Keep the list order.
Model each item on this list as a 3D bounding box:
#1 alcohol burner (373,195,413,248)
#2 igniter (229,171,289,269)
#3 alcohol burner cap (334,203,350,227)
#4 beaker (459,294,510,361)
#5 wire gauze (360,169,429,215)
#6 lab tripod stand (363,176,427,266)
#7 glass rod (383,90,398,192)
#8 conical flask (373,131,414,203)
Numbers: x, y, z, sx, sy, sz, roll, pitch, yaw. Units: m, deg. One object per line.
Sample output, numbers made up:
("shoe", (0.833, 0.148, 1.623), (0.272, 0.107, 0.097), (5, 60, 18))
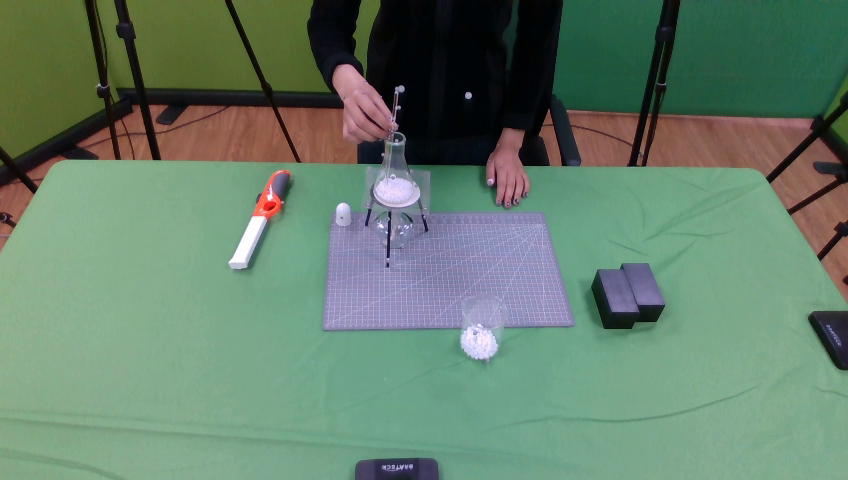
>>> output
("alcohol burner", (-0.059, -0.041, 1.167), (0.078, 0.119, 0.077), (4, 46, -4))
("igniter", (-0.328, -0.049, 1.218), (0.057, 0.025, 0.275), (0, 45, 11))
("alcohol burner cap", (-0.166, -0.054, 1.221), (0.034, 0.048, 0.033), (2, 46, -2))
("beaker", (0.095, 0.147, 1.012), (0.083, 0.101, 0.074), (26, 49, 21))
("wire gauze", (-0.052, -0.092, 1.112), (0.125, 0.011, 0.120), (3, 43, 1))
("lab tripod stand", (-0.058, -0.047, 1.159), (0.148, 0.132, 0.147), (3, 44, -2))
("glass rod", (-0.057, -0.163, 1.033), (0.008, 0.200, 0.008), (6, 40, -5))
("conical flask", (-0.053, -0.131, 1.066), (0.075, 0.122, 0.075), (2, 44, -2))
